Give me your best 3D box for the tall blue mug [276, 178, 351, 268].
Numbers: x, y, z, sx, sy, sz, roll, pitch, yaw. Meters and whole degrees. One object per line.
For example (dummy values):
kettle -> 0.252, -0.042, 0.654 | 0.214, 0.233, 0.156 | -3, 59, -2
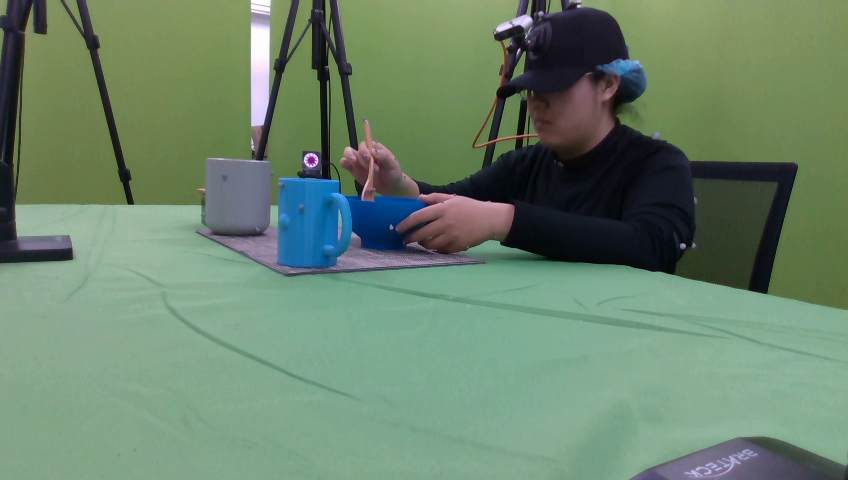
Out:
tall blue mug -> -0.133, -0.022, 0.767 | 0.107, 0.108, 0.078 | 4, 7, 12

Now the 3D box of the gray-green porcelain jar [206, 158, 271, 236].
gray-green porcelain jar -> -0.316, -0.074, 1.031 | 0.106, 0.126, 0.106 | 3, 7, 0

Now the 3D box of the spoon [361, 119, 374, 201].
spoon -> -0.092, -0.121, 1.014 | 0.021, 0.193, 0.042 | -13, -25, 26

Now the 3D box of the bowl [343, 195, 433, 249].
bowl -> -0.063, -0.028, 0.962 | 0.151, 0.077, 0.151 | 3, 7, 0

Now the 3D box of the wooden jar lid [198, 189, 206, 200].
wooden jar lid -> -0.382, -0.088, 1.175 | 0.108, 0.020, 0.108 | 3, 8, 0
